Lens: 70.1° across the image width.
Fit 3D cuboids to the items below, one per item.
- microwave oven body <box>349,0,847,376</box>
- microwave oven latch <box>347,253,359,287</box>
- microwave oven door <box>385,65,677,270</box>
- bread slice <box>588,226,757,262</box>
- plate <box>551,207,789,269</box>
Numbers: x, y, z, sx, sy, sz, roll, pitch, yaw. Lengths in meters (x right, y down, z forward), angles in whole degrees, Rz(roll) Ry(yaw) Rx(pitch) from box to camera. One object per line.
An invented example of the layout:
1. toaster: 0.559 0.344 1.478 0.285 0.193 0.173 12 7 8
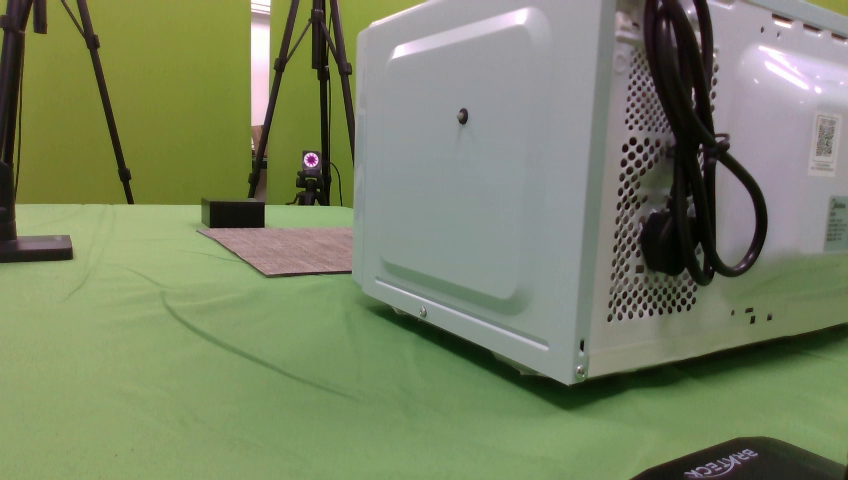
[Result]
1. microwave oven body: 0.199 -0.053 0.540 0.444 0.260 0.324 -1 7 -32
2. microwave oven latch: -0.034 0.028 0.581 0.079 0.029 0.030 -1 7 -31
3. microwave oven door: 0.134 -0.090 0.770 0.356 0.243 0.039 2 7 -2
4. bread slice: 0.225 0.002 0.569 0.132 0.019 0.104 5 5 -23
5. plate: 0.224 -0.004 0.572 0.209 0.038 0.209 4 7 0
